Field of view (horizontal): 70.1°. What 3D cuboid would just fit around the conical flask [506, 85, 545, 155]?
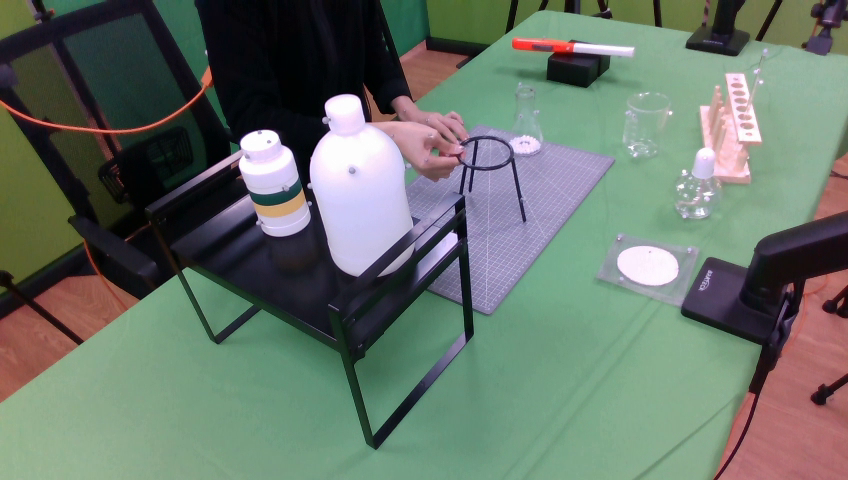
[{"bbox_3d":[0.190,-0.227,1.134,0.075,0.122,0.075,-4,41,4],"label":"conical flask"}]

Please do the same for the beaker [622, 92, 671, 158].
[{"bbox_3d":[0.402,-0.210,1.106,0.074,0.101,0.083,-9,40,-2],"label":"beaker"}]

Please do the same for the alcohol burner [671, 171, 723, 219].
[{"bbox_3d":[0.434,-0.093,0.955,0.078,0.119,0.077,-3,43,4],"label":"alcohol burner"}]

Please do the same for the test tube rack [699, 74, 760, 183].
[{"bbox_3d":[0.547,-0.208,1.095,0.066,0.085,0.242,6,42,16],"label":"test tube rack"}]

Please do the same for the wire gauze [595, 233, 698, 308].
[{"bbox_3d":[0.331,0.038,0.897,0.124,0.011,0.121,18,47,26],"label":"wire gauze"}]

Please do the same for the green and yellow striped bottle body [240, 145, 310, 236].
[{"bbox_3d":[-0.181,-0.068,0.729,0.063,0.120,0.063,-4,40,4],"label":"green and yellow striped bottle body"}]

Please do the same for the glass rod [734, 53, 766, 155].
[{"bbox_3d":[0.540,-0.220,1.007,0.008,0.201,0.008,-5,45,6],"label":"glass rod"}]

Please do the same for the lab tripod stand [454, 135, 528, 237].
[{"bbox_3d":[0.096,-0.088,0.971,0.148,0.132,0.147,-2,44,2],"label":"lab tripod stand"}]

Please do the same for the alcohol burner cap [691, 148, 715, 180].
[{"bbox_3d":[0.432,-0.120,0.930,0.034,0.048,0.033,-7,48,8],"label":"alcohol burner cap"}]

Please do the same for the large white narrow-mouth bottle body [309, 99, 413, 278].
[{"bbox_3d":[-0.069,-0.057,0.644,0.102,0.195,0.101,-3,42,4],"label":"large white narrow-mouth bottle body"}]

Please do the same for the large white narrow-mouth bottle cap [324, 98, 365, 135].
[{"bbox_3d":[-0.076,-0.120,0.585,0.038,0.024,0.037,-3,42,3],"label":"large white narrow-mouth bottle cap"}]

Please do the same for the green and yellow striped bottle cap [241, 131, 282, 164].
[{"bbox_3d":[-0.187,-0.107,0.695,0.045,0.020,0.045,-3,39,3],"label":"green and yellow striped bottle cap"}]

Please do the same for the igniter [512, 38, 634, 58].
[{"bbox_3d":[0.328,-0.433,1.360,0.275,0.025,0.057,12,33,20],"label":"igniter"}]
